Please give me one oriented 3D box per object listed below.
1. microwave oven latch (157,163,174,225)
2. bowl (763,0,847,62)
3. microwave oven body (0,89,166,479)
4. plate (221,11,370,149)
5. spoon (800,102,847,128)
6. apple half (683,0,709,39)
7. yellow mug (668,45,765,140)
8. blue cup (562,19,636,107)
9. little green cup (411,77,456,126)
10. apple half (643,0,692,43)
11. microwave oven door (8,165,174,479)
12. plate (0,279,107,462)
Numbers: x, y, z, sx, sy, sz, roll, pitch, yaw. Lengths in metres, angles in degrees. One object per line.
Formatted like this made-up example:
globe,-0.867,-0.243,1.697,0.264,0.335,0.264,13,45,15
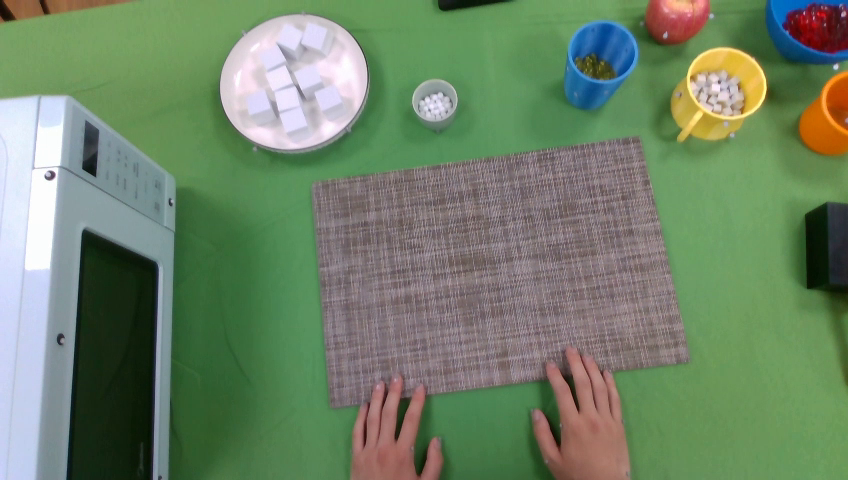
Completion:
microwave oven latch,-0.349,-0.060,0.801,0.030,0.029,0.079,-3,77,2
bowl,0.517,-0.295,0.804,0.151,0.077,0.150,-1,77,4
microwave oven body,-0.490,0.099,0.672,0.326,0.261,0.439,-5,77,2
plate,-0.176,-0.220,0.848,0.207,0.039,0.206,-1,76,3
spoon,0.555,-0.143,0.729,0.041,0.192,0.022,-49,122,-8
apple half,0.364,-0.312,0.819,0.033,0.082,0.081,-2,76,6
yellow mug,0.371,-0.183,0.792,0.099,0.064,0.131,40,83,12
blue cup,0.220,-0.223,0.793,0.092,0.100,0.092,-1,78,3
little green cup,0.014,-0.187,0.829,0.061,0.039,0.061,-1,76,4
apple half,0.325,-0.310,0.822,0.053,0.075,0.080,-3,79,6
microwave oven door,-0.342,0.127,0.651,0.039,0.245,0.354,-5,76,3
plate,-0.472,0.150,0.712,0.209,0.038,0.208,-1,76,3
